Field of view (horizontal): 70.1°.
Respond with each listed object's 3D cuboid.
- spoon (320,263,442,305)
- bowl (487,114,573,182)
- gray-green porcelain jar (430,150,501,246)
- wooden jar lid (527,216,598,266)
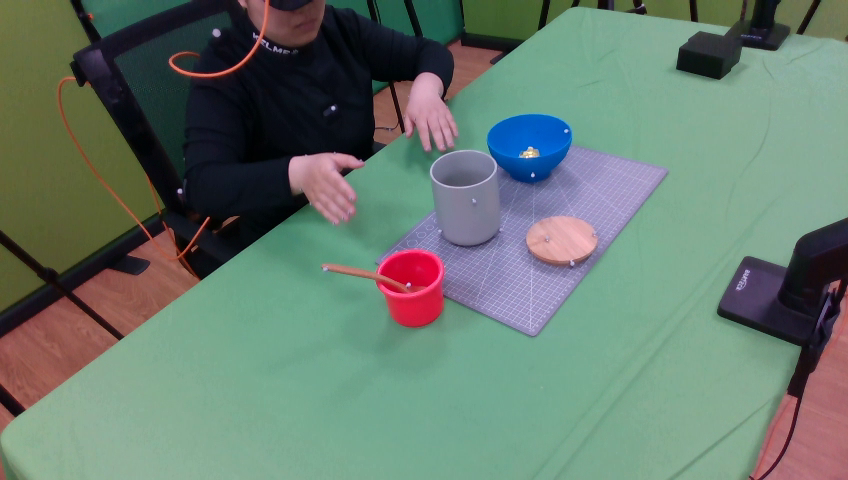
[{"bbox_3d":[-0.055,0.057,0.831,0.195,0.021,0.041,22,26,-34],"label":"spoon"},{"bbox_3d":[0.190,-0.156,1.085,0.151,0.077,0.150,-5,40,5],"label":"bowl"},{"bbox_3d":[0.068,-0.062,0.958,0.106,0.127,0.105,-5,40,5],"label":"gray-green porcelain jar"},{"bbox_3d":[0.214,0.003,0.937,0.108,0.021,0.108,-4,40,4],"label":"wooden jar lid"}]
